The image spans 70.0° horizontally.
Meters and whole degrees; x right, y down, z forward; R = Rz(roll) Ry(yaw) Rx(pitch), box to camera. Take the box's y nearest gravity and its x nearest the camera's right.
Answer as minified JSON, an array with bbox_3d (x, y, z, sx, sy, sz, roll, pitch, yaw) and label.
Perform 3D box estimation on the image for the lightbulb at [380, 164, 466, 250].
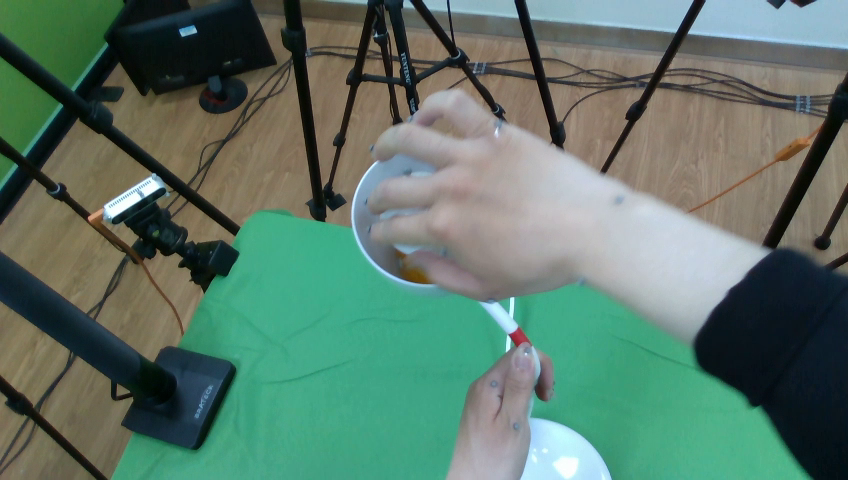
[{"bbox_3d":[0.002,-0.016,0.444,0.059,0.108,0.059,-1,74,5],"label":"lightbulb"}]

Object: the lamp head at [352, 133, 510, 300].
[{"bbox_3d":[0.011,-0.004,0.471,0.112,0.124,0.111,-3,67,6],"label":"lamp head"}]

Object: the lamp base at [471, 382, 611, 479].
[{"bbox_3d":[0.120,0.233,0.641,0.161,0.182,0.177,-24,56,-7],"label":"lamp base"}]
